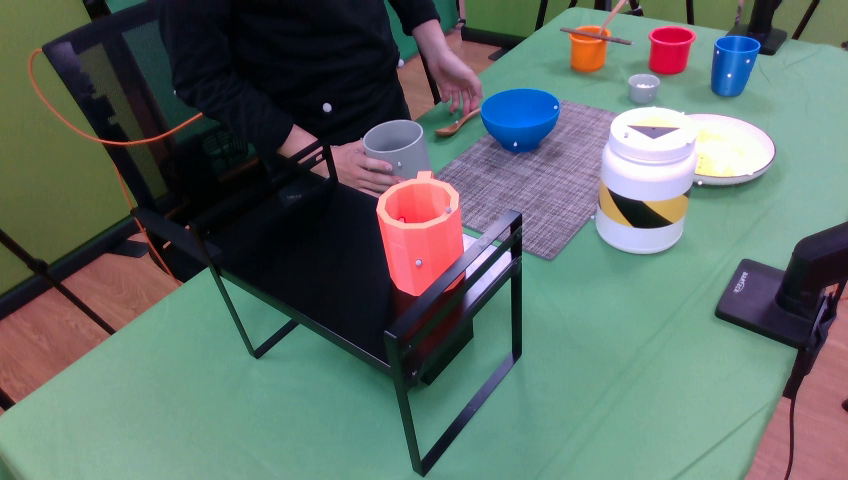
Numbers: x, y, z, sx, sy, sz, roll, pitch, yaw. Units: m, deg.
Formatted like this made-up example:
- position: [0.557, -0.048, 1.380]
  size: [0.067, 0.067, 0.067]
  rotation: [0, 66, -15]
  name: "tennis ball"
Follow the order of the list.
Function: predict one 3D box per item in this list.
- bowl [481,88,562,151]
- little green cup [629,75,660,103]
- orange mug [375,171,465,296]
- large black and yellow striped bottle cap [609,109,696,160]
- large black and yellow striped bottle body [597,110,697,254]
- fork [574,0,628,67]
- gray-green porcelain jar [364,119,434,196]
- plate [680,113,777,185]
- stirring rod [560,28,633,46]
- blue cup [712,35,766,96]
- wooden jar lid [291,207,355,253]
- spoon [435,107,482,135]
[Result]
- position: [0.187, -0.223, 1.162]
  size: [0.151, 0.077, 0.150]
  rotation: [-4, 40, 4]
  name: "bowl"
- position: [0.457, -0.314, 1.260]
  size: [0.061, 0.039, 0.061]
  rotation: [-4, 40, 4]
  name: "little green cup"
- position: [0.000, -0.016, 0.661]
  size: [0.083, 0.101, 0.125]
  rotation: [-2, 45, 8]
  name: "orange mug"
- position: [0.319, -0.150, 0.849]
  size: [0.115, 0.019, 0.114]
  rotation: [-4, 40, 3]
  name: "large black and yellow striped bottle cap"
- position: [0.331, -0.086, 0.904]
  size: [0.131, 0.185, 0.130]
  rotation: [-5, 41, 4]
  name: "large black and yellow striped bottle body"
- position: [0.413, -0.481, 1.377]
  size: [0.207, 0.019, 0.028]
  rotation: [-56, 43, 12]
  name: "fork"
- position: [-0.040, -0.129, 1.053]
  size: [0.106, 0.127, 0.105]
  rotation: [-7, 39, 7]
  name: "gray-green porcelain jar"
- position: [0.506, -0.158, 1.073]
  size: [0.209, 0.038, 0.208]
  rotation: [-5, 40, 4]
  name: "plate"
- position: [0.381, -0.453, 1.345]
  size: [0.174, 0.006, 0.014]
  rotation: [26, 51, 33]
  name: "stirring rod"
- position: [0.627, -0.350, 1.227]
  size: [0.092, 0.100, 0.092]
  rotation: [-4, 39, 4]
  name: "blue cup"
- position: [-0.170, -0.016, 1.025]
  size: [0.108, 0.021, 0.108]
  rotation: [-4, 40, 4]
  name: "wooden jar lid"
- position: [0.100, -0.260, 1.268]
  size: [0.194, 0.022, 0.041]
  rotation: [-34, 28, -27]
  name: "spoon"
